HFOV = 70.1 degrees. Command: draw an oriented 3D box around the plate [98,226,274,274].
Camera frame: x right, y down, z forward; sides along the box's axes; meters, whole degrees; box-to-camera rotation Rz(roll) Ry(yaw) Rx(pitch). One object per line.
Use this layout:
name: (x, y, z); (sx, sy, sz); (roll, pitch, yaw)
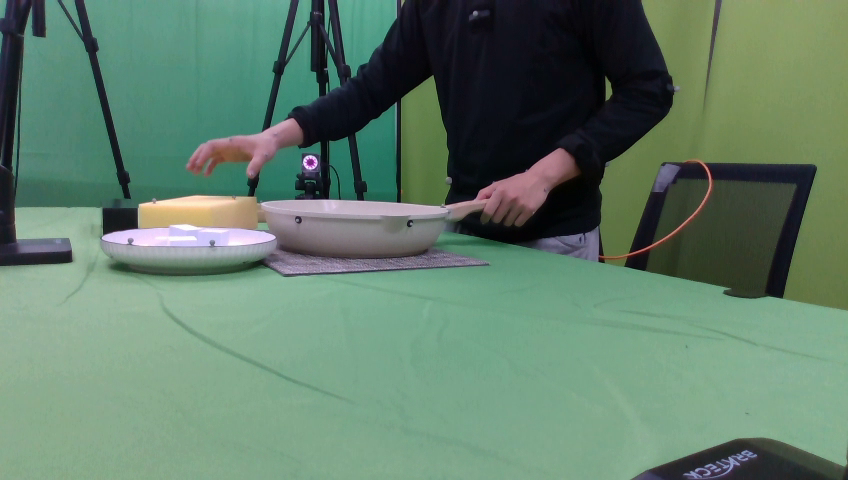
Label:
plate: (-0.301, 0.012, 0.778); (0.208, 0.039, 0.207); (3, 7, 0)

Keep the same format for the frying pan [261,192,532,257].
frying pan: (-0.016, -0.043, 1.006); (0.490, 0.102, 0.305); (-11, 13, -26)

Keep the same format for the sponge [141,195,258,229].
sponge: (-0.380, -0.040, 1.047); (0.118, 0.061, 0.207); (1, 9, 4)

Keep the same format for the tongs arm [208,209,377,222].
tongs arm: (-0.280, -0.055, 1.355); (0.389, 0.028, 0.028); (-1, 6, -28)

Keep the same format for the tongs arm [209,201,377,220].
tongs arm: (-0.306, -0.070, 1.430); (0.386, 0.026, 0.050); (2, 8, -15)
